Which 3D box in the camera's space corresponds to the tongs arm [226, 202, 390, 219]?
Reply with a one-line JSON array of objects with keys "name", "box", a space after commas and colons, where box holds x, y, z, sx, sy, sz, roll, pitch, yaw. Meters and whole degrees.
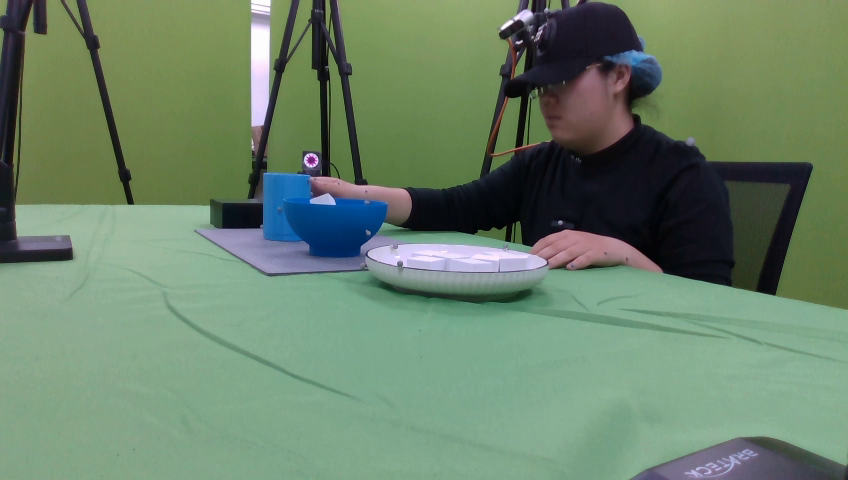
[{"name": "tongs arm", "box": [-0.275, -0.071, 1.445, 0.388, 0.027, 0.028, 2, -1, -4]}]

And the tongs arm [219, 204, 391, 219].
[{"name": "tongs arm", "box": [-0.258, -0.065, 1.367, 0.386, 0.026, 0.050, 1, 3, -17]}]

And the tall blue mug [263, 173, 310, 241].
[{"name": "tall blue mug", "box": [-0.233, -0.058, 1.019, 0.078, 0.108, 0.107, -1, 8, -19]}]

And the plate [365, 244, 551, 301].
[{"name": "plate", "box": [0.038, 0.036, 0.685, 0.209, 0.038, 0.209, 2, 7, 0]}]

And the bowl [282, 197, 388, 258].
[{"name": "bowl", "box": [-0.128, -0.018, 0.869, 0.151, 0.077, 0.151, 2, 7, 0]}]
